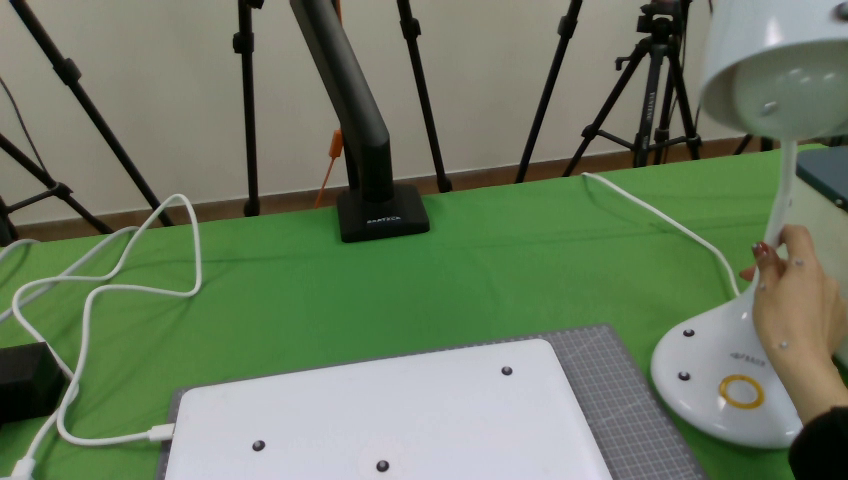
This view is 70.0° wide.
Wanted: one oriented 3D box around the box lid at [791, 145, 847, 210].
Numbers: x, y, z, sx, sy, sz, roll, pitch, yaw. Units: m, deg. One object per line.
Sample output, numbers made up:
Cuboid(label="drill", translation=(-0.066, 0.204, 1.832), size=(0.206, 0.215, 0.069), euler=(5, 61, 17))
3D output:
Cuboid(label="box lid", translation=(0.519, 0.001, 0.486), size=(0.264, 0.015, 0.367), euler=(-7, 35, -8))

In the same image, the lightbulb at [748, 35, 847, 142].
Cuboid(label="lightbulb", translation=(0.210, -0.104, 0.315), size=(0.059, 0.107, 0.059), euler=(21, -1, 1))

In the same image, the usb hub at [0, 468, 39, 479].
Cuboid(label="usb hub", translation=(-0.337, 0.233, 0.451), size=(0.049, 0.025, 0.124), euler=(-7, 35, -5))

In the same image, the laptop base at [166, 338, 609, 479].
Cuboid(label="laptop base", translation=(-0.033, 0.191, 0.500), size=(0.355, 0.023, 0.233), euler=(-7, 38, -7))

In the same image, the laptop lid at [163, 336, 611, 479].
Cuboid(label="laptop lid", translation=(-0.033, 0.182, 0.492), size=(0.357, 0.013, 0.239), euler=(-6, 37, -5))

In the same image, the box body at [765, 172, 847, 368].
Cuboid(label="box body", translation=(0.521, 0.063, 0.527), size=(0.254, 0.162, 0.360), euler=(-8, 35, -8))

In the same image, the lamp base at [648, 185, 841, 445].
Cuboid(label="lamp base", translation=(0.290, 0.054, 0.533), size=(0.160, 0.182, 0.178), euler=(7, 32, 21))

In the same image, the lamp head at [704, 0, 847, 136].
Cuboid(label="lamp head", translation=(0.214, -0.129, 0.326), size=(0.112, 0.113, 0.122), euler=(7, 73, 13))
